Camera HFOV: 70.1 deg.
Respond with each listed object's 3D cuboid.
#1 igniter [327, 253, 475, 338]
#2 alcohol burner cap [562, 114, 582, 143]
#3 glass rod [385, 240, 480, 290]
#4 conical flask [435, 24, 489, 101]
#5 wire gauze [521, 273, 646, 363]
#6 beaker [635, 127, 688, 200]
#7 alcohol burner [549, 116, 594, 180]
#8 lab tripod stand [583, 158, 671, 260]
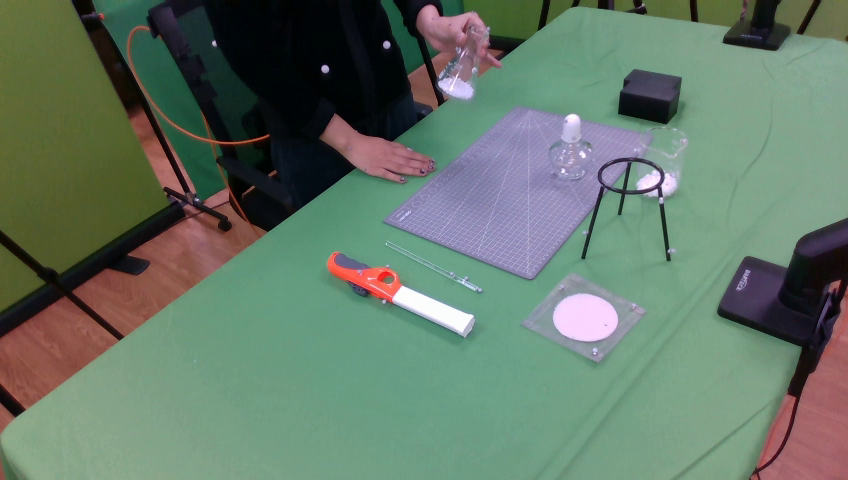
[{"bbox_3d":[-0.045,0.077,0.898,0.274,0.025,0.057,22,60,32],"label":"igniter"},{"bbox_3d":[0.254,-0.192,1.030,0.034,0.048,0.033,-5,50,6],"label":"alcohol burner cap"},{"bbox_3d":[0.009,0.037,0.950,0.198,0.008,0.008,26,52,35],"label":"glass rod"},{"bbox_3d":[0.073,-0.312,1.056,0.075,0.122,0.075,17,32,-10],"label":"conical flask"},{"bbox_3d":[0.219,0.105,0.830,0.120,0.011,0.125,28,54,37],"label":"wire gauze"},{"bbox_3d":[0.388,-0.122,0.994,0.074,0.101,0.083,-8,40,2],"label":"beaker"},{"bbox_3d":[0.258,-0.166,1.055,0.078,0.120,0.077,-6,42,6],"label":"alcohol burner"},{"bbox_3d":[0.300,-0.046,0.895,0.148,0.132,0.147,-7,38,6],"label":"lab tripod stand"}]
